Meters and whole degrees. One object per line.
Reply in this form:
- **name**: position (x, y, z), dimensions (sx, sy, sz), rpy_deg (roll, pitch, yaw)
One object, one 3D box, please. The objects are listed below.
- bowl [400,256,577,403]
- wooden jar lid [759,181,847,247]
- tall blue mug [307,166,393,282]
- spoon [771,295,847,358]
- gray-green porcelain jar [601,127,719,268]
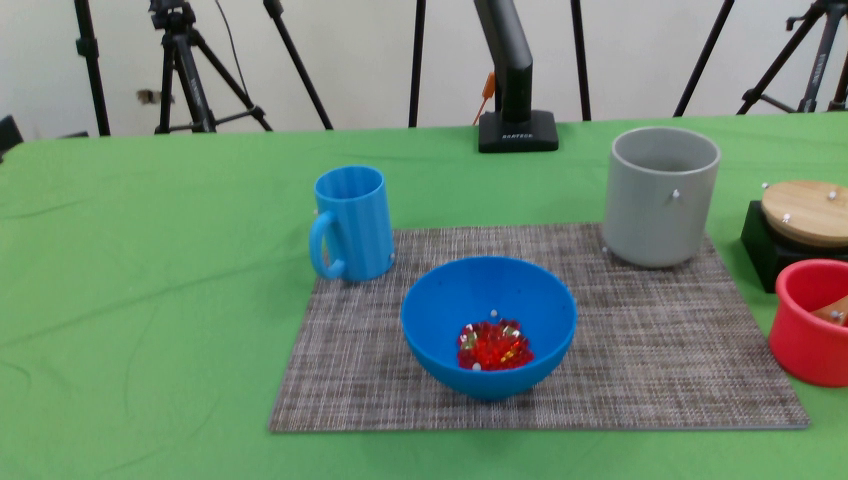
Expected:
- **bowl**: position (0.056, 0.090, 0.536), dimensions (0.151, 0.077, 0.150), rpy_deg (-3, 36, 3)
- **wooden jar lid**: position (0.404, -0.027, 0.623), dimensions (0.108, 0.021, 0.107), rpy_deg (-4, 35, 3)
- **tall blue mug**: position (-0.079, -0.008, 0.663), dimensions (0.078, 0.109, 0.106), rpy_deg (-1, 36, 5)
- **spoon**: position (0.385, 0.038, 0.514), dimensions (0.022, 0.194, 0.041), rpy_deg (35, 23, -22)
- **gray-green porcelain jar**: position (0.248, -0.041, 0.652), dimensions (0.106, 0.127, 0.105), rpy_deg (-4, 36, 3)
